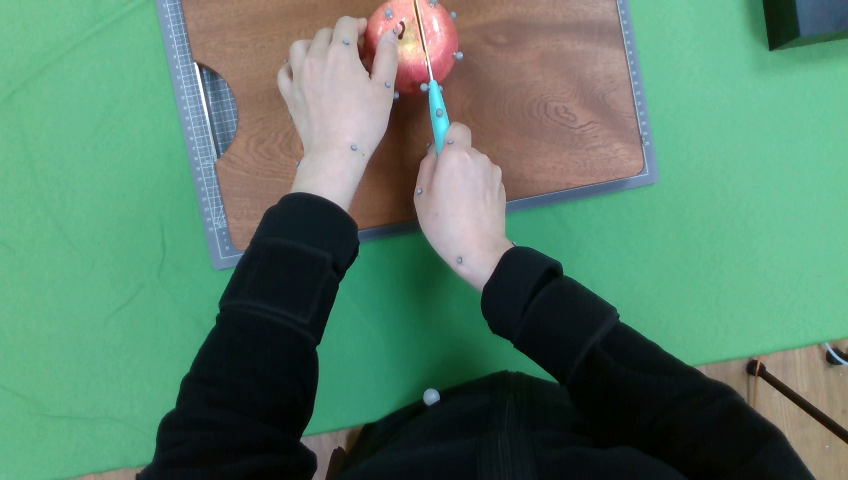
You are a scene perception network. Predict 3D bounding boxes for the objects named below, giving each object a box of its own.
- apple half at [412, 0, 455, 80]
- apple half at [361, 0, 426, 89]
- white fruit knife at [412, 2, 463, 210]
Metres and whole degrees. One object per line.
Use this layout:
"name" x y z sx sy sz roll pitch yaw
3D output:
"apple half" 0.010 -0.179 0.531 0.033 0.081 0.081 -13 92 0
"apple half" -0.027 -0.170 0.532 0.053 0.074 0.081 -14 97 5
"white fruit knife" 0.005 -0.127 0.510 0.016 0.027 0.207 -12 92 -4
